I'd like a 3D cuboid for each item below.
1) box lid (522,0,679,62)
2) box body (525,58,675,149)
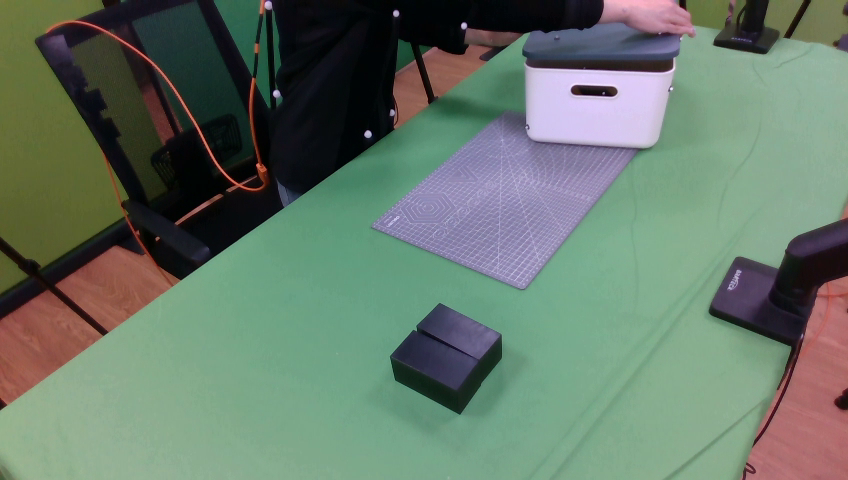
[{"bbox_3d":[0.345,-0.409,1.154,0.262,0.015,0.371,6,37,17],"label":"box lid"},{"bbox_3d":[0.356,-0.342,1.212,0.253,0.161,0.363,7,42,17],"label":"box body"}]
